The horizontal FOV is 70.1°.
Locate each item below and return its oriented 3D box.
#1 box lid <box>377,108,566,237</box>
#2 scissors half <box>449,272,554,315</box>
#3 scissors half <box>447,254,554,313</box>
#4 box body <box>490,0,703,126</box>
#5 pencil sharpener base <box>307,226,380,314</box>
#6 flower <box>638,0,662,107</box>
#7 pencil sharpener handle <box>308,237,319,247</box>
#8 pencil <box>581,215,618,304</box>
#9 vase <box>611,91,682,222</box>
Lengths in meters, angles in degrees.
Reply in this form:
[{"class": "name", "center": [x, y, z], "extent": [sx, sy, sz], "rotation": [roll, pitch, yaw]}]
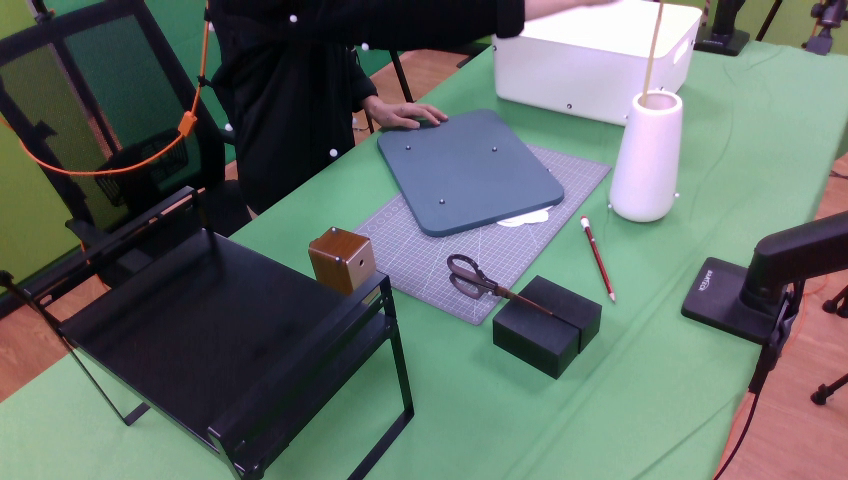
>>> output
[{"class": "box lid", "center": [0.074, -0.141, 1.136], "extent": [0.264, 0.015, 0.368], "rotation": [-16, 40, -10]}, {"class": "scissors half", "center": [0.104, 0.076, 0.834], "extent": [0.173, 0.040, 0.013], "rotation": [15, 48, 42]}, {"class": "scissors half", "center": [0.101, 0.060, 0.821], "extent": [0.174, 0.040, 0.013], "rotation": [28, 50, 29]}, {"class": "box body", "center": [0.352, -0.384, 1.268], "extent": [0.361, 0.161, 0.255], "rotation": [21, 48, 29]}, {"class": "pencil sharpener base", "center": [-0.116, 0.043, 0.875], "extent": [0.076, 0.107, 0.061], "rotation": [18, 47, 27]}, {"class": "flower", "center": [0.310, -0.334, 0.789], "extent": [0.038, 0.363, 0.044], "rotation": [28, 46, 36]}, {"class": "pencil sharpener handle", "center": [-0.159, 0.017, 0.892], "extent": [0.030, 0.068, 0.036], "rotation": [18, 60, 28]}, {"class": "pencil", "center": [0.266, 0.026, 0.917], "extent": [0.012, 0.012, 0.193], "rotation": [-6, 42, 1]}, {"class": "vase", "center": [0.348, -0.125, 0.935], "extent": [0.098, 0.201, 0.097], "rotation": [-3, 40, 3]}]
